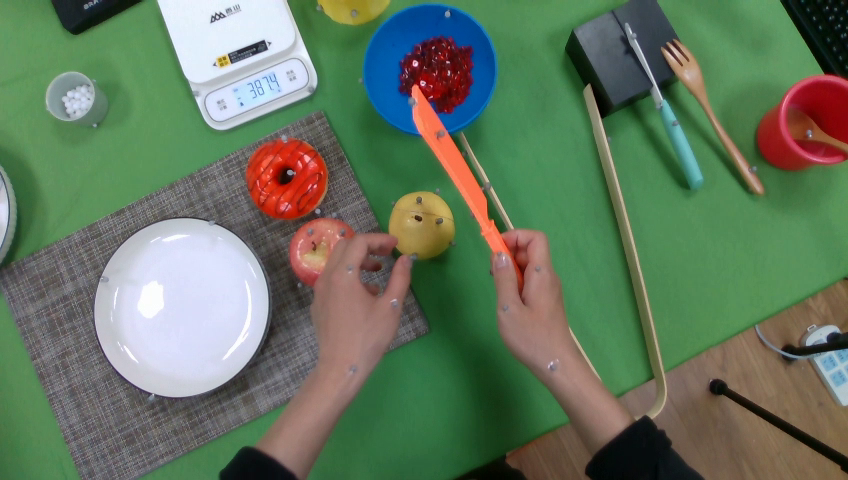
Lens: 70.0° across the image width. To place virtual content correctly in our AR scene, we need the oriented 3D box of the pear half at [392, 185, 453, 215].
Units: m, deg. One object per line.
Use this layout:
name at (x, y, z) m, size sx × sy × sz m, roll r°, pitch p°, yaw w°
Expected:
pear half at (-0.001, -0.047, 0.687) m, size 0.070 × 0.088 × 0.031 m, roll 4°, pitch 86°, yaw 7°

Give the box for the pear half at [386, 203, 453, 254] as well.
pear half at (-0.007, -0.013, 0.674) m, size 0.076 × 0.110 × 0.056 m, roll 5°, pitch 84°, yaw 7°

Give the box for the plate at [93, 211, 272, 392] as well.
plate at (-0.278, 0.070, 0.712) m, size 0.209 × 0.038 × 0.208 m, roll 0°, pitch 85°, yaw 3°

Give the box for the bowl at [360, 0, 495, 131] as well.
bowl at (0.006, -0.192, 0.704) m, size 0.151 × 0.077 × 0.151 m, roll 0°, pitch 86°, yaw 3°

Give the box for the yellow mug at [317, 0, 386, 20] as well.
yellow mug at (-0.106, -0.334, 0.727) m, size 0.130 × 0.064 × 0.100 m, roll 31°, pitch 88°, yaw 6°

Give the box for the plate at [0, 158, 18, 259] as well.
plate at (-0.593, -0.033, 0.739) m, size 0.207 × 0.039 × 0.207 m, roll 0°, pitch 85°, yaw 3°

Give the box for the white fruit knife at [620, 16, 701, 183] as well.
white fruit knife at (0.267, -0.157, 0.688) m, size 0.016 × 0.027 × 0.208 m, roll -29°, pitch 99°, yaw 0°

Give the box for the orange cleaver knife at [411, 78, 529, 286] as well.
orange cleaver knife at (0.043, -0.050, 0.553) m, size 0.012 × 0.076 × 0.213 m, roll -25°, pitch 114°, yaw 21°

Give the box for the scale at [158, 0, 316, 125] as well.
scale at (-0.232, -0.256, 0.744) m, size 0.148 × 0.031 × 0.200 m, roll -22°, pitch 85°, yaw 1°

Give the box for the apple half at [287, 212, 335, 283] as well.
apple half at (-0.128, 0.007, 0.693) m, size 0.053 × 0.075 × 0.080 m, roll 7°, pitch 88°, yaw 7°

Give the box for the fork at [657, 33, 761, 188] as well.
fork at (0.329, -0.145, 0.692) m, size 0.028 × 0.018 × 0.208 m, roll -36°, pitch 100°, yaw -3°

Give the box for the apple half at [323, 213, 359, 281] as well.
apple half at (-0.089, 0.010, 0.689) m, size 0.033 × 0.081 × 0.081 m, roll 6°, pitch 85°, yaw 6°

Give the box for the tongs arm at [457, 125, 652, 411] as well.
tongs arm at (0.148, 0.028, 0.701) m, size 0.051 × 0.026 × 0.384 m, roll -26°, pitch 86°, yaw -5°

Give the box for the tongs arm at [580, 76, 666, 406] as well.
tongs arm at (0.228, -0.003, 0.705) m, size 0.028 × 0.028 × 0.386 m, roll -11°, pitch 85°, yaw -7°

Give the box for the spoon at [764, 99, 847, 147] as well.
spoon at (0.443, -0.104, 0.643) m, size 0.041 × 0.022 × 0.191 m, roll -32°, pitch 40°, yaw -1°

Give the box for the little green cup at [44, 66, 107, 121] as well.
little green cup at (-0.425, -0.177, 0.743) m, size 0.061 × 0.039 × 0.061 m, roll 0°, pitch 85°, yaw 3°

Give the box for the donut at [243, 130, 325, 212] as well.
donut at (-0.165, -0.081, 0.716) m, size 0.099 × 0.048 × 0.099 m, roll 0°, pitch 86°, yaw 5°
